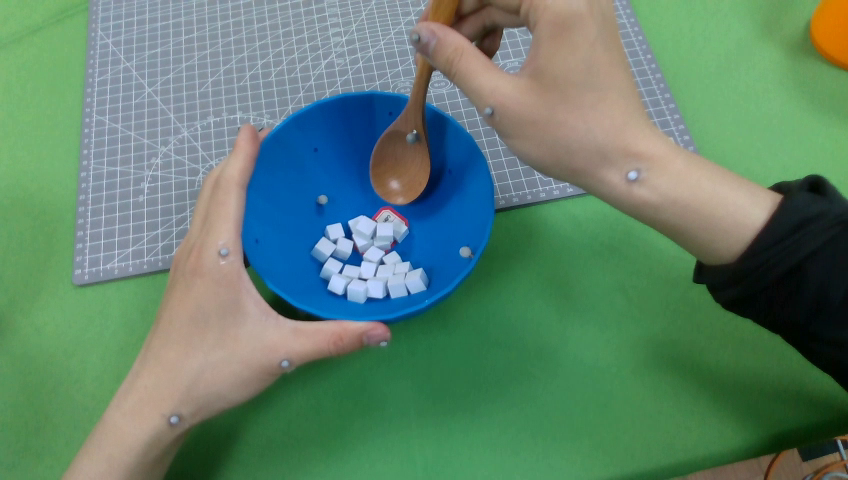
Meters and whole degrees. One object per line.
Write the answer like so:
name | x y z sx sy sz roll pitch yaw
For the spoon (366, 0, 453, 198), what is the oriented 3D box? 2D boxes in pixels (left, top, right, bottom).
spoon | -0.001 -0.091 0.327 0.041 0.195 0.021 32 53 8

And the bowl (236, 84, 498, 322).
bowl | -0.032 -0.013 0.383 0.151 0.077 0.150 0 68 0
